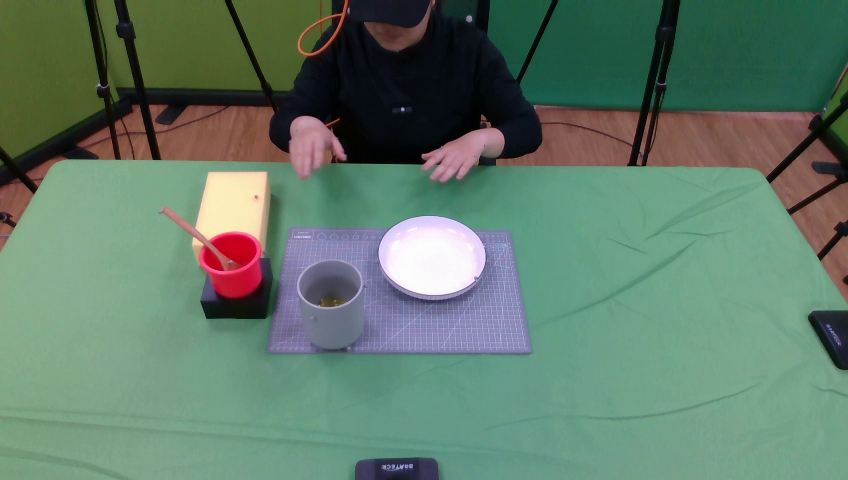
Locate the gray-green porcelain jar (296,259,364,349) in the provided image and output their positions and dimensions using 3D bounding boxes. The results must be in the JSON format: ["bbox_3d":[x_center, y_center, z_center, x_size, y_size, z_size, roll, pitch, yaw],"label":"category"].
[{"bbox_3d":[-0.152,0.111,1.003,0.106,0.127,0.105,2,46,-2],"label":"gray-green porcelain jar"}]

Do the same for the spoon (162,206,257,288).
[{"bbox_3d":[-0.355,0.011,1.006,0.194,0.021,0.041,48,45,-19],"label":"spoon"}]

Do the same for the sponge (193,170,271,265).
[{"bbox_3d":[-0.371,-0.047,1.189,0.118,0.061,0.205,-2,47,-6],"label":"sponge"}]

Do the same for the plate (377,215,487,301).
[{"bbox_3d":[0.014,0.037,1.147,0.208,0.039,0.206,2,46,-2],"label":"plate"}]
